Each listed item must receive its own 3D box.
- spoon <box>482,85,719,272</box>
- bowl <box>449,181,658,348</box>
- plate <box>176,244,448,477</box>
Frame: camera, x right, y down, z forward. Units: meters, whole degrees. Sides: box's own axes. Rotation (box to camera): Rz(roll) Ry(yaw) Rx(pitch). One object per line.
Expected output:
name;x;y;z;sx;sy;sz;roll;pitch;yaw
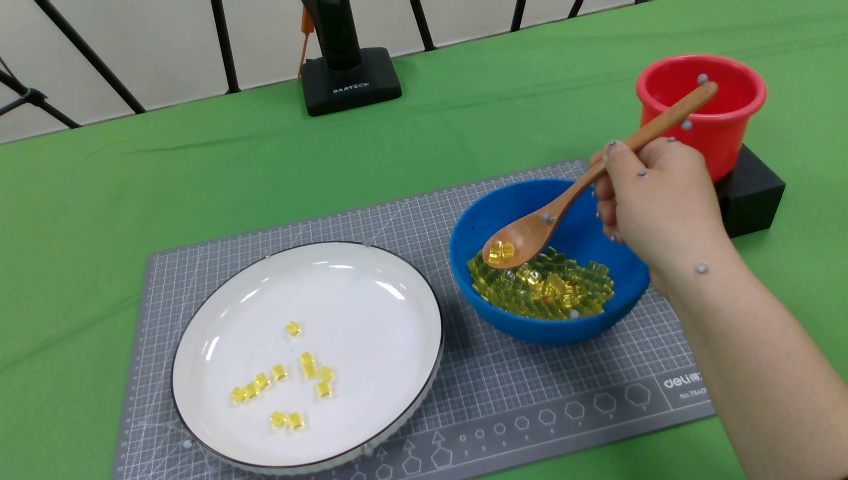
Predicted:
spoon;0.118;-0.040;0.420;0.194;0.022;0.041;-42;37;21
bowl;0.098;0.031;0.472;0.151;0.077;0.150;-5;45;5
plate;-0.083;0.088;0.474;0.207;0.039;0.205;-5;45;5
